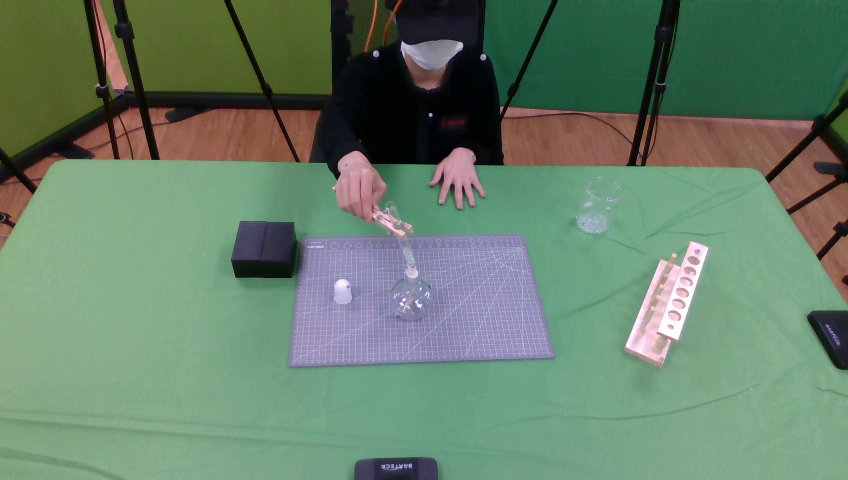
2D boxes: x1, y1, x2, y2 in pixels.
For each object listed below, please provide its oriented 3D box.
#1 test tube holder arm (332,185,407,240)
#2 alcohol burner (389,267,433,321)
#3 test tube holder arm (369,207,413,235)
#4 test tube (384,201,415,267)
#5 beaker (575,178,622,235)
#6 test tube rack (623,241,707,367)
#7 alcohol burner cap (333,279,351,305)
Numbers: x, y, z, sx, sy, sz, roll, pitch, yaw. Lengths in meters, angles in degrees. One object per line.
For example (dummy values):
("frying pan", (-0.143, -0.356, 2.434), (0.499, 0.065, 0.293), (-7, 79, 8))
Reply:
("test tube holder arm", (-0.090, -0.046, 0.958), (0.177, 0.015, 0.013), (33, 64, 34))
("alcohol burner", (-0.022, 0.086, 1.046), (0.078, 0.119, 0.077), (2, 48, -2))
("test tube holder arm", (-0.054, -0.031, 0.936), (0.087, 0.015, 0.010), (25, 60, 31))
("test tube", (-0.035, -0.006, 0.937), (0.017, 0.151, 0.017), (-7, 50, 9))
("beaker", (0.356, -0.068, 1.240), (0.084, 0.101, 0.073), (-18, 50, -21))
("test tube rack", (0.435, 0.104, 1.089), (0.066, 0.085, 0.242), (24, 49, 19))
("alcohol burner cap", (-0.147, 0.090, 1.083), (0.034, 0.048, 0.033), (3, 46, -3))
